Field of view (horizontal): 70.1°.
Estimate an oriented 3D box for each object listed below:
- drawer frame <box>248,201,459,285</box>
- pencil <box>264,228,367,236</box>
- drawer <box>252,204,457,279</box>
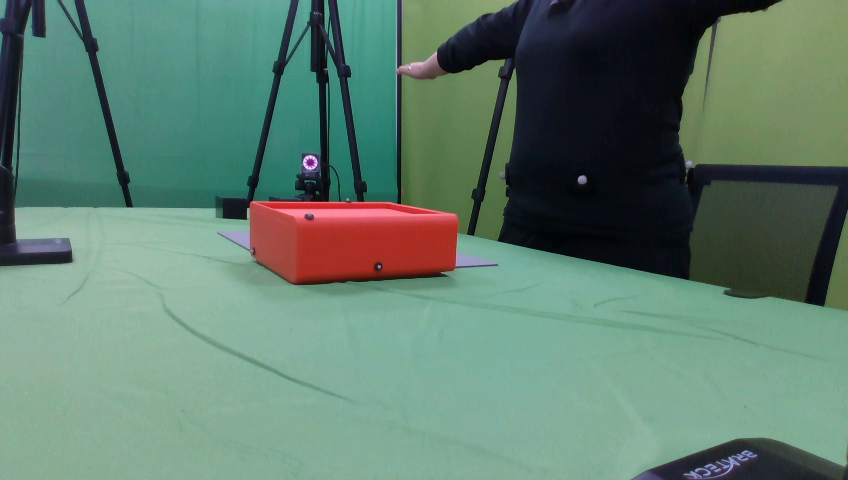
[{"bbox_3d":[-0.096,-0.005,0.785,0.215,0.082,0.200,-3,10,-31],"label":"drawer frame"},{"bbox_3d":[-0.195,-0.013,1.109,0.195,0.012,0.012,1,7,-28],"label":"pencil"},{"bbox_3d":[-0.095,-0.004,0.787,0.213,0.073,0.193,-3,10,-30],"label":"drawer"}]
